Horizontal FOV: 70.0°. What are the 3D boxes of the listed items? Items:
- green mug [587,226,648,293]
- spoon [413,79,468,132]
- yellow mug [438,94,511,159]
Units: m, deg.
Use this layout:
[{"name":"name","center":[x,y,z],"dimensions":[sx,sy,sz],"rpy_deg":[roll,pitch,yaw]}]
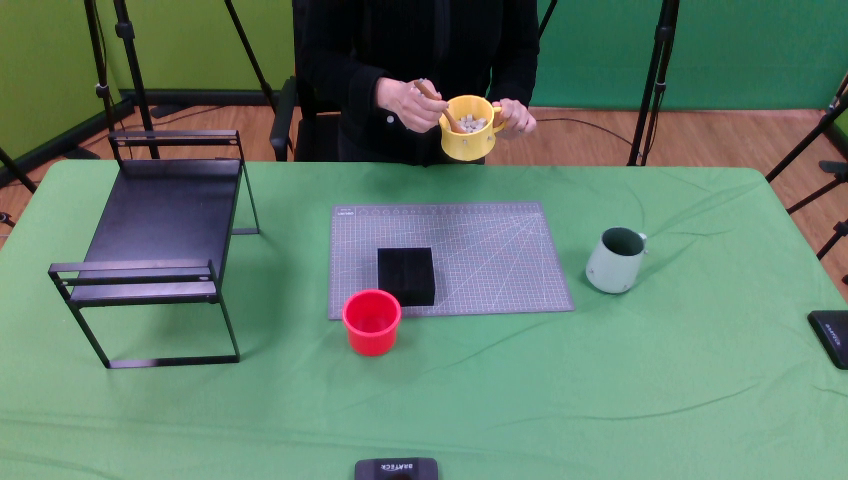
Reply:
[{"name":"green mug","center":[0.372,0.030,1.136],"dimensions":[0.125,0.105,0.092],"rpy_deg":[-27,53,-26]},{"name":"spoon","center":[0.035,-0.213,1.019],"dimensions":[0.041,0.195,0.021],"rpy_deg":[7,68,37]},{"name":"yellow mug","center":[0.092,-0.208,1.082],"dimensions":[0.131,0.064,0.099],"rpy_deg":[-17,55,-4]}]
